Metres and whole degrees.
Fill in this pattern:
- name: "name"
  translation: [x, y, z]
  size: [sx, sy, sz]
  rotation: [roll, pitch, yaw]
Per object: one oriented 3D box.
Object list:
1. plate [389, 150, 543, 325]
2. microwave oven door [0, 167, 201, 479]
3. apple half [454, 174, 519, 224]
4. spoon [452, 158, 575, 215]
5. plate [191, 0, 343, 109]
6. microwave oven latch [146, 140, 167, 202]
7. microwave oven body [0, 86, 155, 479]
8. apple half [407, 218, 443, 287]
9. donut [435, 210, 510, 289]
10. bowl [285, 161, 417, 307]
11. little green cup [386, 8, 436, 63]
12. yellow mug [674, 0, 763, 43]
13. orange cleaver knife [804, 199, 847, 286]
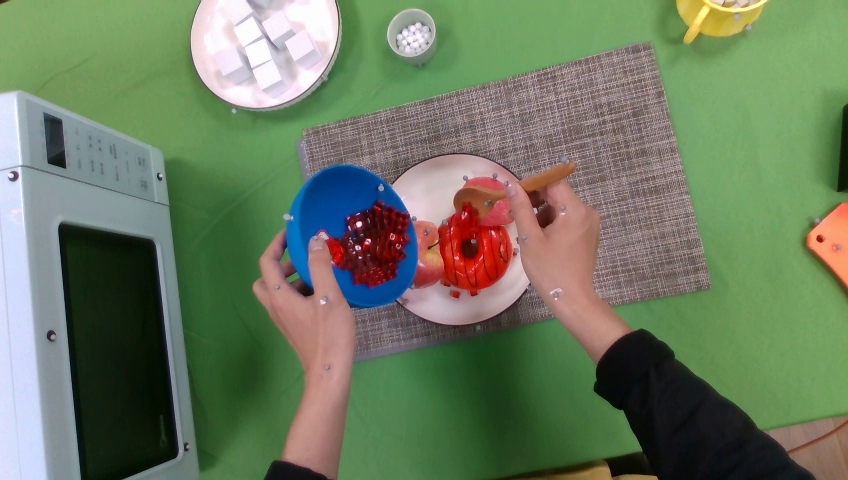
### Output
- name: "plate"
  translation: [0.038, -0.003, 0.730]
  size: [0.209, 0.038, 0.208]
  rotation: [-1, 85, 10]
- name: "microwave oven door"
  translation: [-0.346, 0.116, 0.670]
  size: [0.039, 0.245, 0.354]
  rotation: [-11, 83, 9]
- name: "apple half"
  translation: [0.075, -0.054, 0.702]
  size: [0.081, 0.033, 0.080]
  rotation: [1, 45, -1]
- name: "spoon"
  translation: [0.083, -0.051, 0.601]
  size: [0.042, 0.193, 0.021]
  rotation: [48, 68, -15]
- name: "plate"
  translation: [-0.204, -0.271, 0.802]
  size: [0.207, 0.039, 0.207]
  rotation: [-1, 85, 10]
- name: "microwave oven latch"
  translation: [-0.360, -0.089, 0.794]
  size: [0.030, 0.029, 0.079]
  rotation: [-9, 84, 9]
- name: "microwave oven body"
  translation: [-0.493, 0.101, 0.703]
  size: [0.326, 0.261, 0.440]
  rotation: [-10, 84, 9]
- name: "apple half"
  translation: [-0.022, 0.016, 0.708]
  size: [0.074, 0.054, 0.080]
  rotation: [-16, 78, 50]
- name: "donut"
  translation: [0.053, 0.009, 0.716]
  size: [0.099, 0.048, 0.099]
  rotation: [0, 89, 10]
- name: "bowl"
  translation: [-0.088, 0.003, 0.627]
  size: [0.076, 0.152, 0.151]
  rotation: [-22, 79, 43]
- name: "little green cup"
  translation: [-0.014, -0.256, 0.766]
  size: [0.061, 0.039, 0.061]
  rotation: [-1, 84, 11]
- name: "yellow mug"
  translation: [0.335, -0.283, 0.692]
  size: [0.099, 0.064, 0.131]
  rotation: [35, 93, 11]
- name: "orange cleaver knife"
  translation: [0.494, 0.055, 0.656]
  size: [0.077, 0.012, 0.210]
  rotation: [-27, 79, 1]
